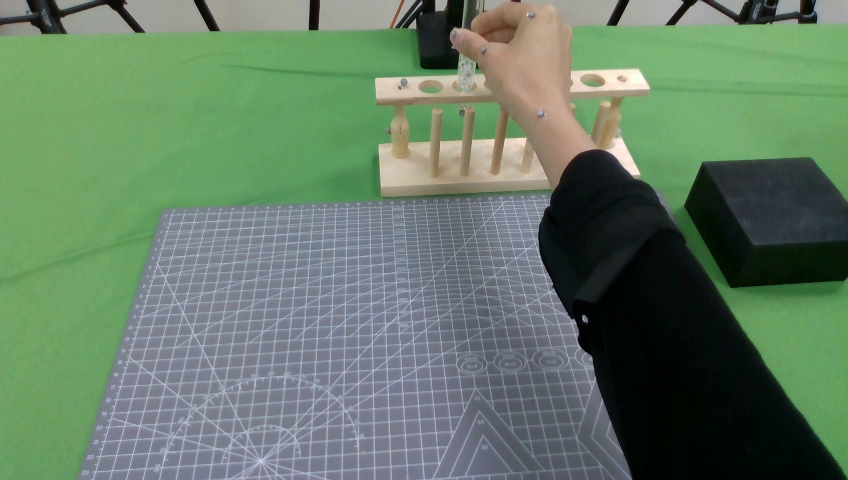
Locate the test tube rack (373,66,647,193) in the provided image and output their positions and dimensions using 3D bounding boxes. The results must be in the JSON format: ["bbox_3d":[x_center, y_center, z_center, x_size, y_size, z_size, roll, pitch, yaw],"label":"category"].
[{"bbox_3d":[0.077,-0.102,0.556,0.243,0.086,0.066,-3,46,-4],"label":"test tube rack"}]

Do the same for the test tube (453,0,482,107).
[{"bbox_3d":[0.037,-0.173,0.495,0.017,0.151,0.017,2,48,-2],"label":"test tube"}]
